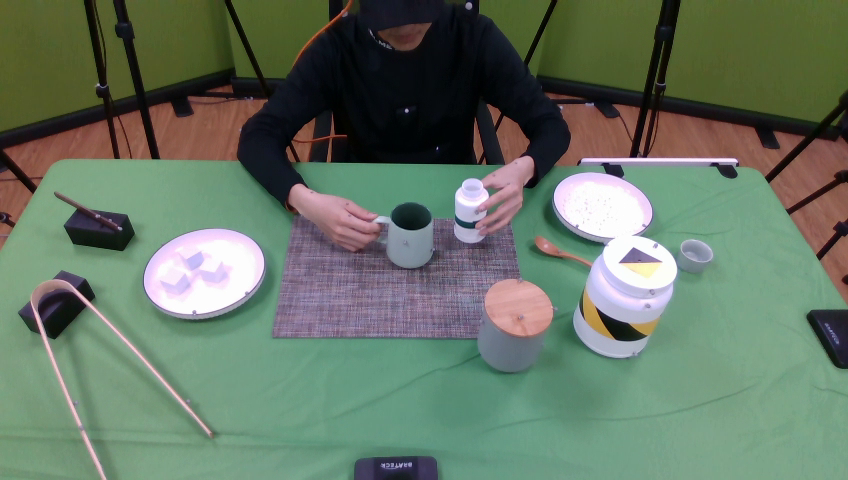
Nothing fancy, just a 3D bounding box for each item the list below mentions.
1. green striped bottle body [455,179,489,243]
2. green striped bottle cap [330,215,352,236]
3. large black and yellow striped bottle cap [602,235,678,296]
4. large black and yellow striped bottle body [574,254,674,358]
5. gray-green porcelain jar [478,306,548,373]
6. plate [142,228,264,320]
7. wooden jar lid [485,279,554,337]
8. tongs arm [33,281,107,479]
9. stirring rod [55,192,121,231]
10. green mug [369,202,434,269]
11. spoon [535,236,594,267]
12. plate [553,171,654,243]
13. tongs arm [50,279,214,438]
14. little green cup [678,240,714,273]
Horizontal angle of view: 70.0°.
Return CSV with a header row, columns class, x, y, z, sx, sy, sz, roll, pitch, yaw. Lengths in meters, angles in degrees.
class,x,y,z,sx,sy,sz,roll,pitch,yaw
green striped bottle body,0.089,-0.056,1.128,0.063,0.120,0.063,-1,46,1
green striped bottle cap,-0.166,-0.029,1.213,0.044,0.020,0.044,1,51,-1
large black and yellow striped bottle cap,0.340,0.037,0.956,0.115,0.019,0.114,2,47,-2
large black and yellow striped bottle body,0.335,0.096,1.014,0.131,0.185,0.130,2,46,-2
gray-green porcelain jar,0.144,0.148,0.989,0.106,0.127,0.105,2,50,-2
plate,-0.394,0.064,1.095,0.208,0.039,0.206,2,46,-2
wooden jar lid,0.147,0.108,0.940,0.108,0.021,0.107,4,47,-4
tongs arm,-0.517,0.214,0.910,0.051,0.026,0.383,-28,63,-27
stirring rod,-0.632,-0.055,1.138,0.175,0.014,0.006,24,50,19
green mug,-0.043,-0.010,1.140,0.125,0.105,0.092,8,46,3
spoon,0.303,0.040,1.178,0.193,0.022,0.041,25,30,19
plate,0.373,-0.066,1.275,0.209,0.038,0.208,2,46,-2
tongs arm,-0.459,0.178,0.949,0.386,0.028,0.028,37,60,17
little green cup,0.531,0.033,1.190,0.061,0.039,0.061,1,46,-1
